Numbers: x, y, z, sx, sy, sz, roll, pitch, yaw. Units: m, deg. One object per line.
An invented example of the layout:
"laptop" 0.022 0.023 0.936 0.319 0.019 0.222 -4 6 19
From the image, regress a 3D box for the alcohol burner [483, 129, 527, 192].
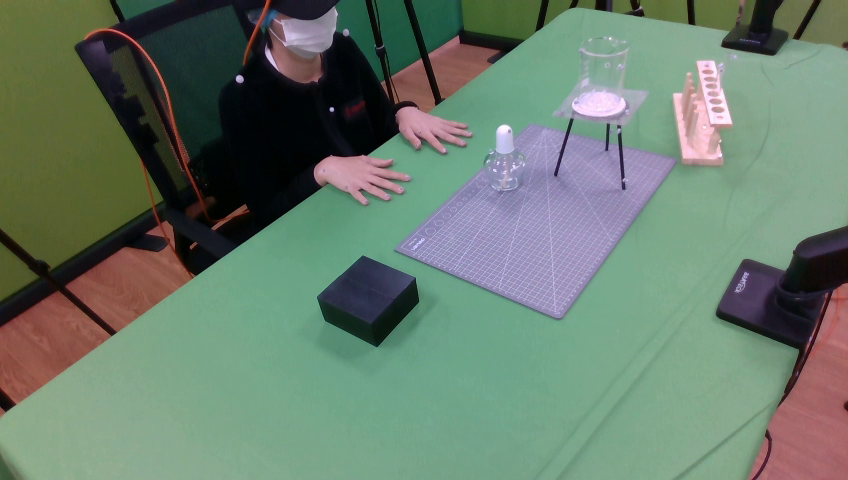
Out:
"alcohol burner" 0.141 -0.144 1.050 0.078 0.119 0.077 -4 42 4

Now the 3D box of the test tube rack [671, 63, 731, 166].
"test tube rack" 0.513 -0.241 1.132 0.066 0.085 0.242 4 41 14

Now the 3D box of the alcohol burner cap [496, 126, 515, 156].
"alcohol burner cap" 0.138 -0.172 1.028 0.034 0.048 0.033 -5 38 5

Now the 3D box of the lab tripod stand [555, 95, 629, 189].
"lab tripod stand" 0.300 -0.174 1.045 0.148 0.132 0.147 -5 38 5

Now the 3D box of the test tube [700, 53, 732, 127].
"test tube" 0.521 -0.265 1.081 0.017 0.151 0.017 -3 47 3

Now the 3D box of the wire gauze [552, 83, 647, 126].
"wire gauze" 0.293 -0.224 1.004 0.120 0.011 0.125 19 43 26

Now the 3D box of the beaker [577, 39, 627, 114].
"beaker" 0.286 -0.264 0.976 0.073 0.100 0.084 25 49 33
